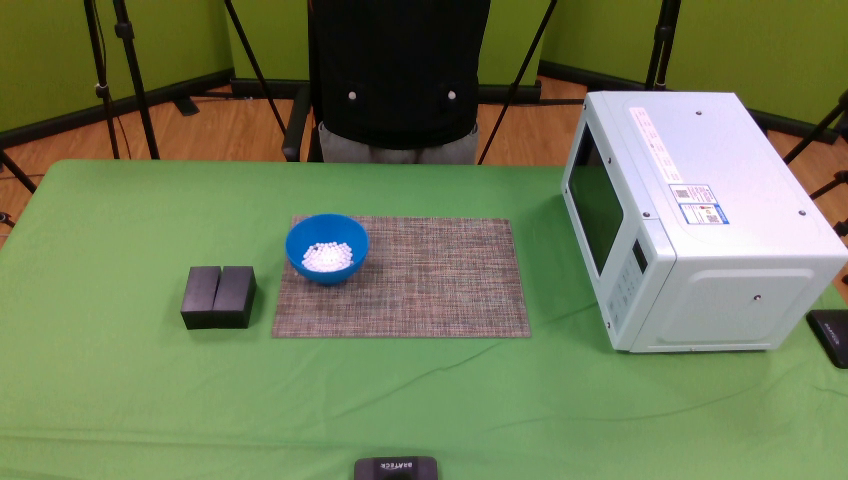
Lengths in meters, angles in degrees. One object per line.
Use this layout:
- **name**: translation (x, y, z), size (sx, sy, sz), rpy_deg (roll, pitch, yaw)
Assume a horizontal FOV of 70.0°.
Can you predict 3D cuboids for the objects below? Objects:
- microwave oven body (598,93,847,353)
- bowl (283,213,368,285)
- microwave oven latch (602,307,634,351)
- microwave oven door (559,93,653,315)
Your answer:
- **microwave oven body**: translation (0.475, -0.041, 1.109), size (0.326, 0.261, 0.438), rpy_deg (-1, 45, -4)
- **bowl**: translation (-0.178, 0.030, 1.114), size (0.151, 0.077, 0.150), rpy_deg (3, 45, -2)
- **microwave oven latch**: translation (0.332, 0.153, 1.043), size (0.030, 0.029, 0.078), rpy_deg (-1, 45, -4)
- **microwave oven door**: translation (0.327, -0.074, 1.123), size (0.039, 0.245, 0.353), rpy_deg (-1, 46, -5)
